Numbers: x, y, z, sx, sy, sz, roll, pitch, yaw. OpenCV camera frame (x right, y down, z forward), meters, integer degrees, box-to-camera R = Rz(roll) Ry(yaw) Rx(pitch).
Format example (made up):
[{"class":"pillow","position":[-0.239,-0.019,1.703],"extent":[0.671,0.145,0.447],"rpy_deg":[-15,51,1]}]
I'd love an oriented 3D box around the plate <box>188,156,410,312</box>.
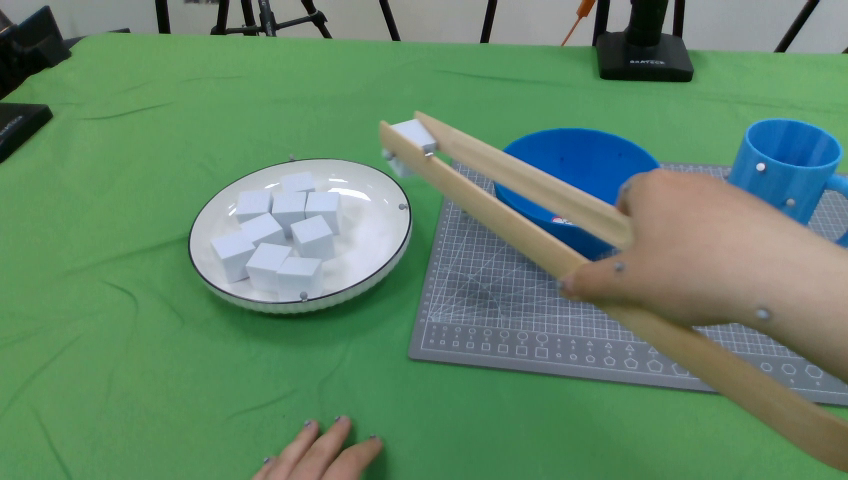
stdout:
[{"class":"plate","position":[-0.116,-0.007,0.582],"extent":[0.209,0.038,0.207],"rpy_deg":[-1,43,1]}]

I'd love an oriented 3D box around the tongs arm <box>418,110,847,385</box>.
[{"class":"tongs arm","position":[0.106,-0.009,0.379],"extent":[0.028,0.028,0.383],"rpy_deg":[-18,38,-32]}]

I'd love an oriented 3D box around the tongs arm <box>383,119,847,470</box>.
[{"class":"tongs arm","position":[0.087,-0.002,0.367],"extent":[0.051,0.027,0.380],"rpy_deg":[-18,39,-26]}]

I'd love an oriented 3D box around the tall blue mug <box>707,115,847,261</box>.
[{"class":"tall blue mug","position":[0.323,-0.042,0.538],"extent":[0.107,0.109,0.077],"rpy_deg":[13,45,17]}]

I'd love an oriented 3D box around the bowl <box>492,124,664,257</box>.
[{"class":"bowl","position":[0.136,-0.034,0.564],"extent":[0.151,0.077,0.150],"rpy_deg":[-2,43,2]}]
